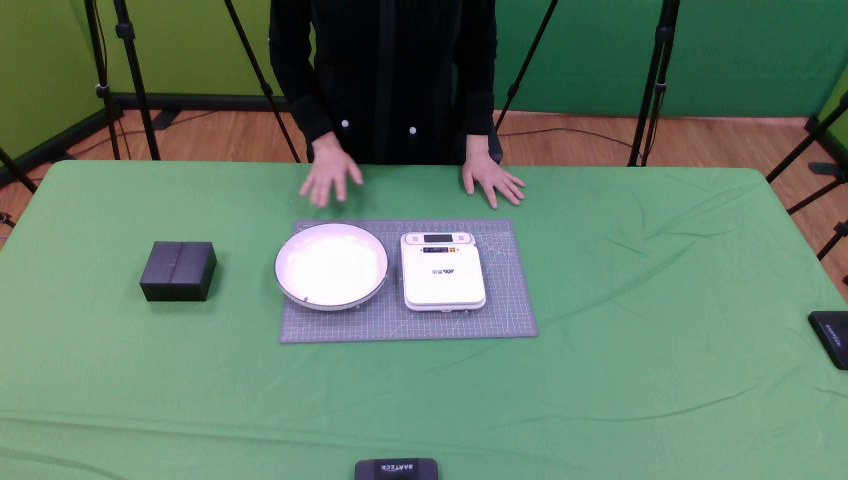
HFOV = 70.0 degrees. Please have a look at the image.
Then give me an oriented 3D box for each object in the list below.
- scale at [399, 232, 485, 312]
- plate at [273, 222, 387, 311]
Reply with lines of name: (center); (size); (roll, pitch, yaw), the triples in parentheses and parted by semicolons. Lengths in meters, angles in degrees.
scale: (0.031, 0.050, 1.141); (0.149, 0.032, 0.199); (-1, 46, -5)
plate: (-0.172, 0.051, 1.120); (0.209, 0.038, 0.208); (2, 46, -2)
